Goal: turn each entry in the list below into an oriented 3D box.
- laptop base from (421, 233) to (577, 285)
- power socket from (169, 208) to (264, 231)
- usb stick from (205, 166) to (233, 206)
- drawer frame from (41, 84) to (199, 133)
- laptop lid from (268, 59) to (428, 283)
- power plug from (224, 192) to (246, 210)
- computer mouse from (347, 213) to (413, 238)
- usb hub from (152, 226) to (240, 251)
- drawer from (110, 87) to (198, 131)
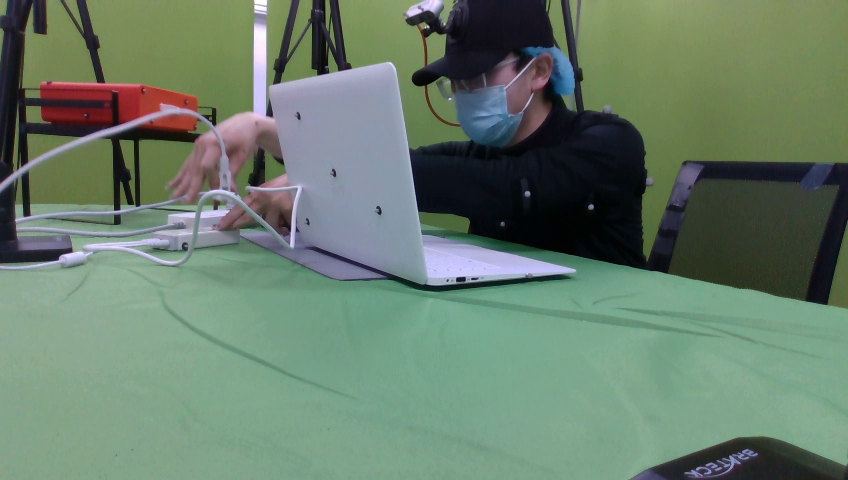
[{"bbox_3d":[0.006,0.022,0.850,0.237,0.023,0.352,1,7,-34],"label":"laptop base"},{"bbox_3d":[-0.381,-0.038,1.128,0.072,0.032,0.227,4,8,17],"label":"power socket"},{"bbox_3d":[-0.315,-0.081,0.921,0.027,0.059,0.021,21,11,11],"label":"usb stick"},{"bbox_3d":[-0.605,-0.264,1.225,0.213,0.082,0.202,3,8,8],"label":"drawer frame"},{"bbox_3d":[-0.111,-0.087,0.752,0.013,0.241,0.355,-18,19,-30],"label":"laptop lid"},{"bbox_3d":[-0.387,-0.071,1.204,0.072,0.052,0.035,7,11,25],"label":"power plug"},{"bbox_3d":[-0.079,-0.025,1.080,0.117,0.041,0.062,-5,12,-18],"label":"computer mouse"},{"bbox_3d":[-0.339,-0.003,0.907,0.049,0.025,0.125,6,9,27],"label":"usb hub"},{"bbox_3d":[-0.602,-0.263,1.225,0.211,0.073,0.195,3,8,10],"label":"drawer"}]
